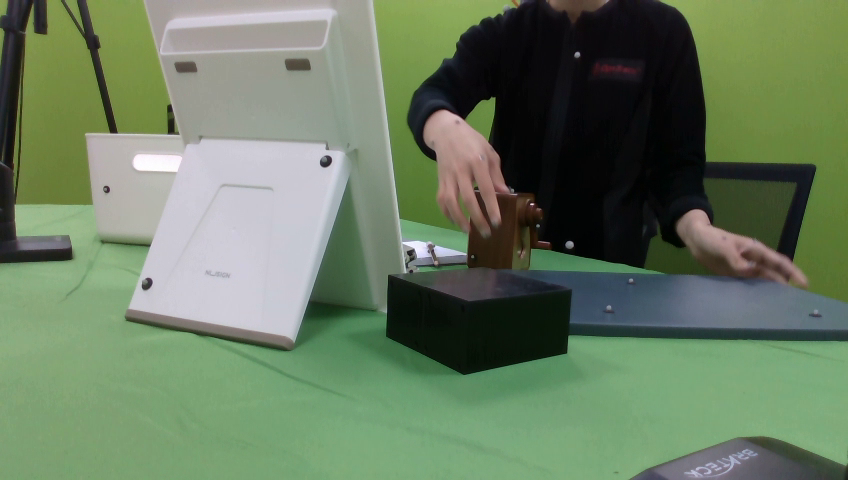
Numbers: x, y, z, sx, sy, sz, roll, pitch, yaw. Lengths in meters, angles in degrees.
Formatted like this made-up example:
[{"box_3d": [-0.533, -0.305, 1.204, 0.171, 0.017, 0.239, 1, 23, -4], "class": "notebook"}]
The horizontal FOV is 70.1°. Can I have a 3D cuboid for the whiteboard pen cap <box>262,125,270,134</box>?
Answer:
[{"box_3d": [-0.349, -0.244, 1.336, 0.018, 0.018, 0.033, 0, 2, -17], "class": "whiteboard pen cap"}]

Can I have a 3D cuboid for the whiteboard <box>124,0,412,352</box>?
[{"box_3d": [-0.151, -0.049, 0.472, 0.216, 0.305, 0.144, 6, 27, 24], "class": "whiteboard"}]

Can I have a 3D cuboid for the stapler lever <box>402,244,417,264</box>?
[{"box_3d": [-0.066, 0.003, 0.754, 0.117, 0.040, 0.027, 9, 13, 23], "class": "stapler lever"}]

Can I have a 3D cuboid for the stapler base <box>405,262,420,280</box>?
[{"box_3d": [-0.069, 0.027, 0.759, 0.130, 0.024, 0.041, 9, 13, 23], "class": "stapler base"}]

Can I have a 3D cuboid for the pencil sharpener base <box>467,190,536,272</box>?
[{"box_3d": [0.106, -0.011, 0.808, 0.076, 0.107, 0.061, 8, 9, 33], "class": "pencil sharpener base"}]

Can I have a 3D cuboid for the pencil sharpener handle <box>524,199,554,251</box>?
[{"box_3d": [0.151, -0.019, 0.782, 0.030, 0.068, 0.036, 8, 23, 33], "class": "pencil sharpener handle"}]

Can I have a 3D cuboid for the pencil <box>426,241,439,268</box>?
[{"box_3d": [0.013, 0.021, 0.885, 0.012, 0.012, 0.194, 2, 9, -3], "class": "pencil"}]

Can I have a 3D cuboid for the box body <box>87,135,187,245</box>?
[{"box_3d": [-0.338, -0.088, 1.022, 0.254, 0.160, 0.364, 3, 7, 9], "class": "box body"}]

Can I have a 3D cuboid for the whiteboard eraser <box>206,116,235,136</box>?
[{"box_3d": [-0.450, -0.252, 1.335, 0.056, 0.042, 0.112, 1, 7, -22], "class": "whiteboard eraser"}]

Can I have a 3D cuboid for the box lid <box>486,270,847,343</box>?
[{"box_3d": [0.267, 0.066, 0.643, 0.372, 0.015, 0.263, 2, 7, -5], "class": "box lid"}]

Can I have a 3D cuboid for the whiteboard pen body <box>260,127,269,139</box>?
[{"box_3d": [-0.366, -0.247, 1.392, 0.017, 0.017, 0.140, 0, 3, -17], "class": "whiteboard pen body"}]
